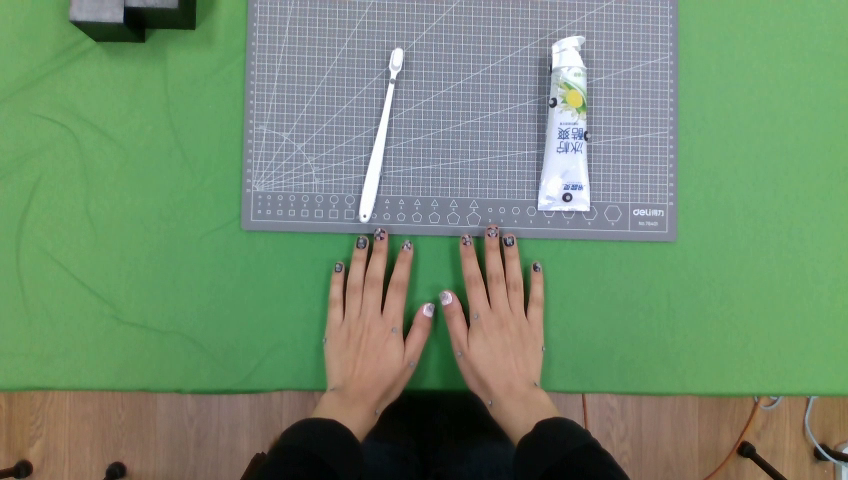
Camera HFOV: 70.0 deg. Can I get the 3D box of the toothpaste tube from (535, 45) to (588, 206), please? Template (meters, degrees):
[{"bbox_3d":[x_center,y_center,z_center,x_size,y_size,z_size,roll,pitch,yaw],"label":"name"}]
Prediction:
[{"bbox_3d":[0.142,-0.118,0.623,0.055,0.034,0.165,0,92,4],"label":"toothpaste tube"}]

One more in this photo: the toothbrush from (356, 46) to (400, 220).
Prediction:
[{"bbox_3d":[-0.046,-0.110,0.616,0.014,0.016,0.181,12,89,-16],"label":"toothbrush"}]

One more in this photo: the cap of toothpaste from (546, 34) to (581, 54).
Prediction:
[{"bbox_3d":[0.144,-0.200,0.620,0.037,0.037,0.011,-11,85,-4],"label":"cap of toothpaste"}]
